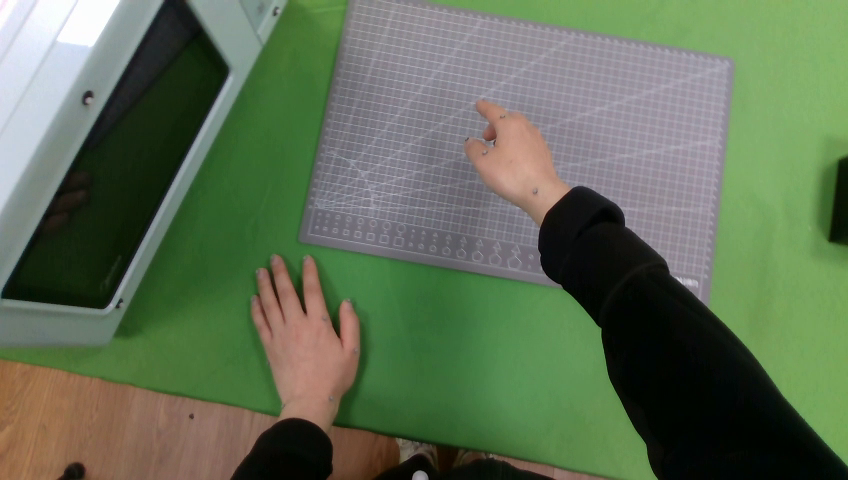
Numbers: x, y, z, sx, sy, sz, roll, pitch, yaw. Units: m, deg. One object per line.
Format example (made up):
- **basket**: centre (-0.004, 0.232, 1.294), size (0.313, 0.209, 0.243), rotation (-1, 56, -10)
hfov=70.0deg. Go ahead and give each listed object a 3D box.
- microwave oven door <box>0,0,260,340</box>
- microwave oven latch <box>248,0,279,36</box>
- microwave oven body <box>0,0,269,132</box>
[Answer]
- **microwave oven door**: centre (-0.262, -0.082, 0.525), size (0.039, 0.244, 0.355), rotation (24, 82, 2)
- **microwave oven latch**: centre (-0.174, -0.264, 0.655), size (0.030, 0.029, 0.079), rotation (25, 83, 1)
- **microwave oven body**: centre (-0.379, -0.178, 0.539), size (0.326, 0.260, 0.440), rotation (24, 82, 1)
